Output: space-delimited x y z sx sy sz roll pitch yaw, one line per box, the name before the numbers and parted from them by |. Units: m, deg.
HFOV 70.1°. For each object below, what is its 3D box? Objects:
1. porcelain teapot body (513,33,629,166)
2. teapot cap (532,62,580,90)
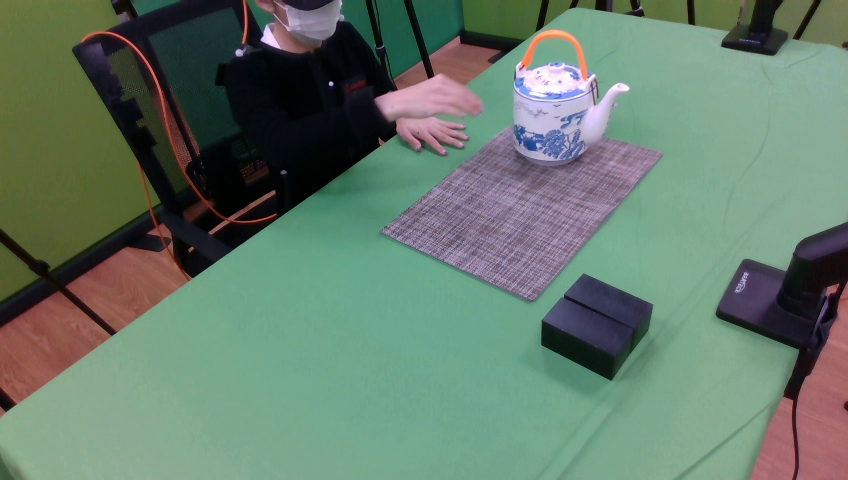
porcelain teapot body | 0.256 -0.248 1.065 0.204 0.226 0.145 18 47 28
teapot cap | 0.230 -0.286 1.053 0.085 0.044 0.085 -4 39 4
